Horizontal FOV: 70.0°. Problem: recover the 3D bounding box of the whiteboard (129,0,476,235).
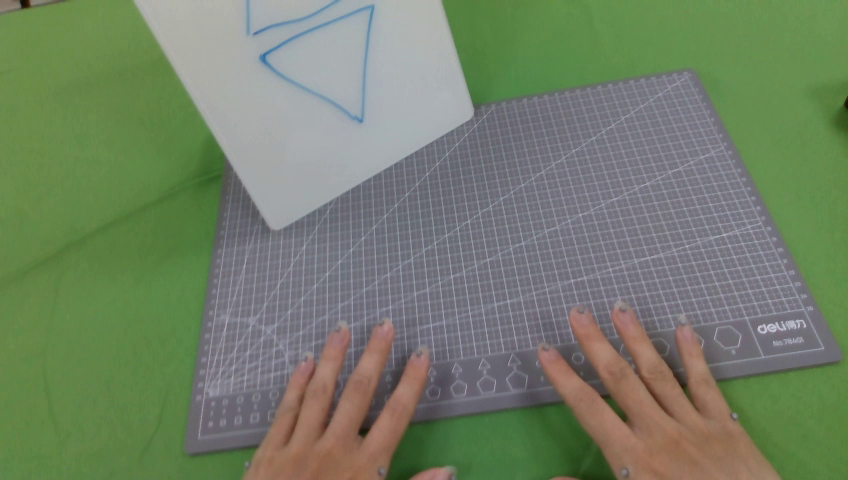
[{"bbox_3d":[-0.120,-0.202,0.509,0.217,0.308,0.142,-32,36,-12],"label":"whiteboard"}]
